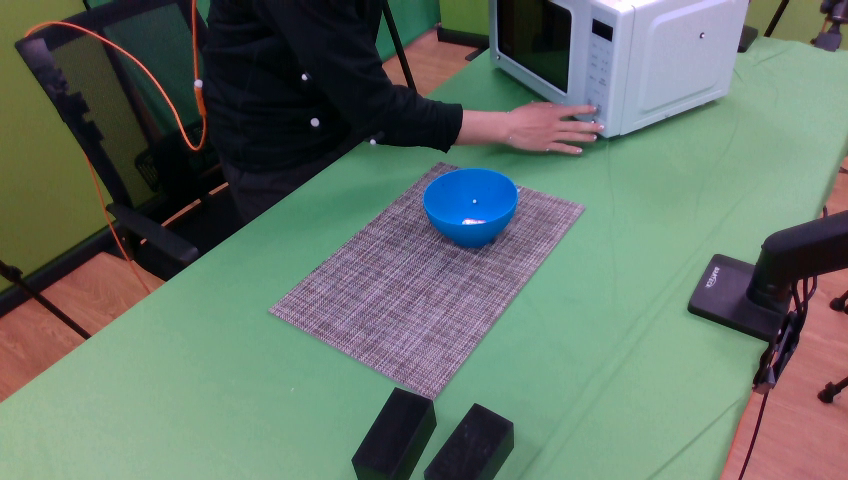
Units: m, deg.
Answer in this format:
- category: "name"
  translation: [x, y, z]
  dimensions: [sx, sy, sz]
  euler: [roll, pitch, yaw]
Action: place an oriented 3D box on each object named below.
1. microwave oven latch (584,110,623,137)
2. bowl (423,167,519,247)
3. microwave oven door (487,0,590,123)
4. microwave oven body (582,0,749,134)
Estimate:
- category: "microwave oven latch"
  translation: [0.337, -0.222, 1.142]
  dimensions: [0.030, 0.029, 0.078]
  euler: [-21, 42, -14]
- category: "bowl"
  translation: [0.075, -0.041, 0.958]
  dimensions: [0.151, 0.077, 0.150]
  euler: [-4, 40, 4]
- category: "microwave oven door"
  translation: [0.232, -0.420, 1.230]
  dimensions: [0.039, 0.245, 0.352]
  euler: [-22, 42, -16]
- category: "microwave oven body"
  translation: [0.382, -0.445, 1.246]
  dimensions: [0.327, 0.261, 0.437]
  euler: [-22, 42, -16]
